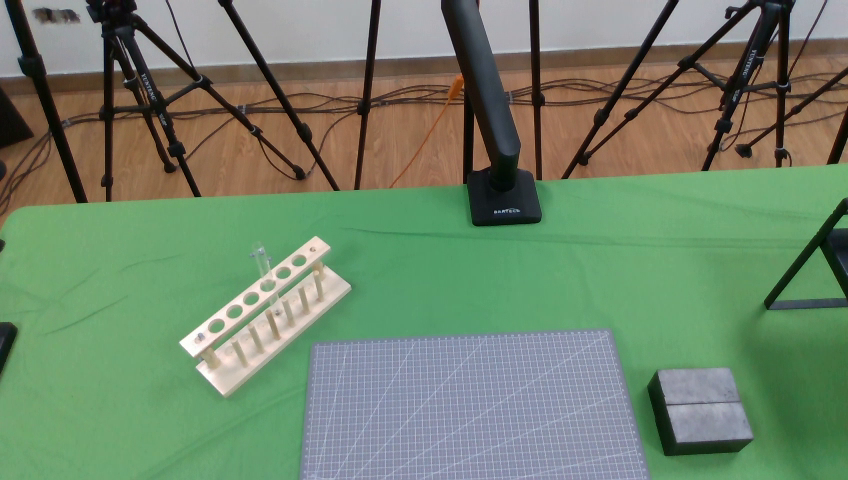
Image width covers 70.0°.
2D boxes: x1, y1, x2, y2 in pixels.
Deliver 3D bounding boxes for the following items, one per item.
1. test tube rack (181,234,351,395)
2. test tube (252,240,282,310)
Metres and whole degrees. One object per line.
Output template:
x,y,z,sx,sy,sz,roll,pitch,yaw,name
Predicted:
-0.221,0.104,0.885,0.066,0.086,0.242,35,60,25,test tube rack
-0.222,0.053,0.862,0.017,0.151,0.017,0,49,0,test tube
